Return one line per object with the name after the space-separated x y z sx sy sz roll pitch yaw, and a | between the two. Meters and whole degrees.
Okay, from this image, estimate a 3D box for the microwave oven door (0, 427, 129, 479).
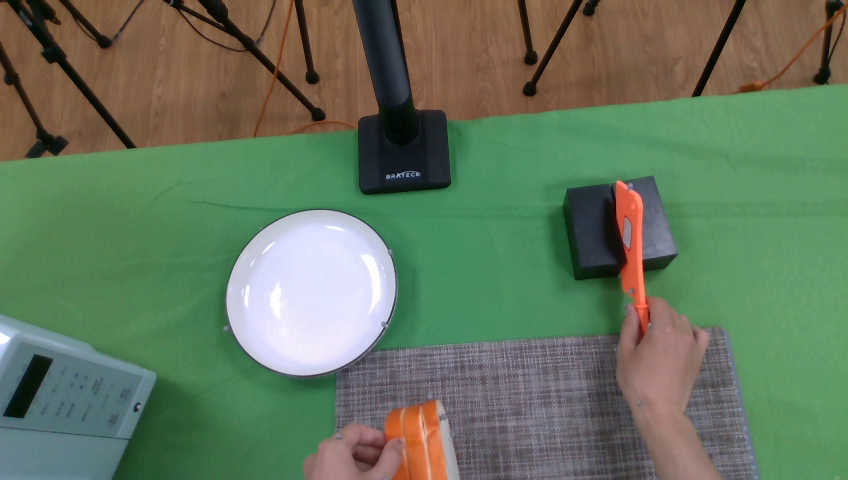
-0.414 0.338 0.530 0.039 0.245 0.354 15 72 11 | microwave oven door

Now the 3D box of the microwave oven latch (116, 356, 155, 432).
-0.337 0.176 0.691 0.030 0.030 0.079 17 73 10 | microwave oven latch

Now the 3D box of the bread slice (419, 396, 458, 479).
0.019 0.228 0.617 0.018 0.107 0.133 -13 73 4 | bread slice

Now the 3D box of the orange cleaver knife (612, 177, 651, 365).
0.232 0.034 0.685 0.012 0.077 0.212 -8 98 -2 | orange cleaver knife

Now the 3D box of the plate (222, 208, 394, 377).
-0.137 0.063 0.733 0.207 0.039 0.206 -1 70 4 | plate

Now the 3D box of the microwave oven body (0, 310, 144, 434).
-0.540 0.265 0.573 0.325 0.262 0.439 15 73 10 | microwave oven body
